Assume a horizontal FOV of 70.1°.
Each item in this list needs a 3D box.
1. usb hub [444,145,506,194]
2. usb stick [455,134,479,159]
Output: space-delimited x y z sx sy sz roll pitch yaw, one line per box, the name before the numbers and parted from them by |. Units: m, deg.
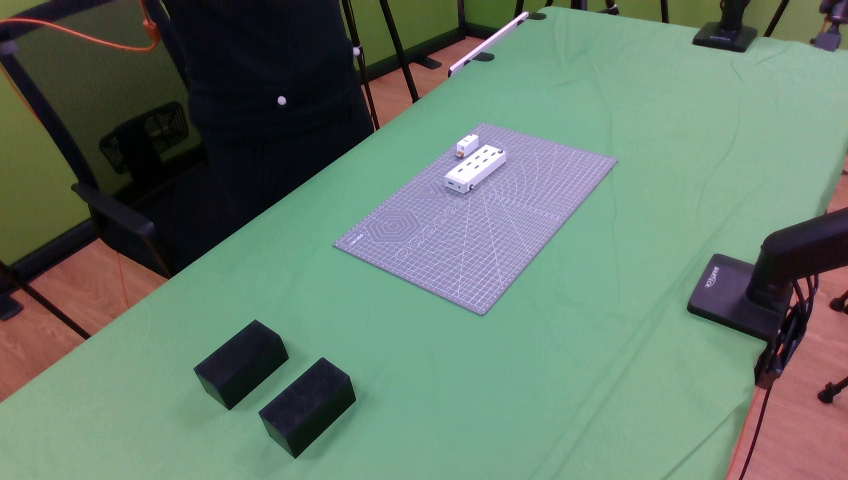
usb hub | 0.095 -0.129 1.101 0.049 0.025 0.125 27 51 33
usb stick | 0.080 -0.177 1.159 0.021 0.027 0.059 24 52 33
